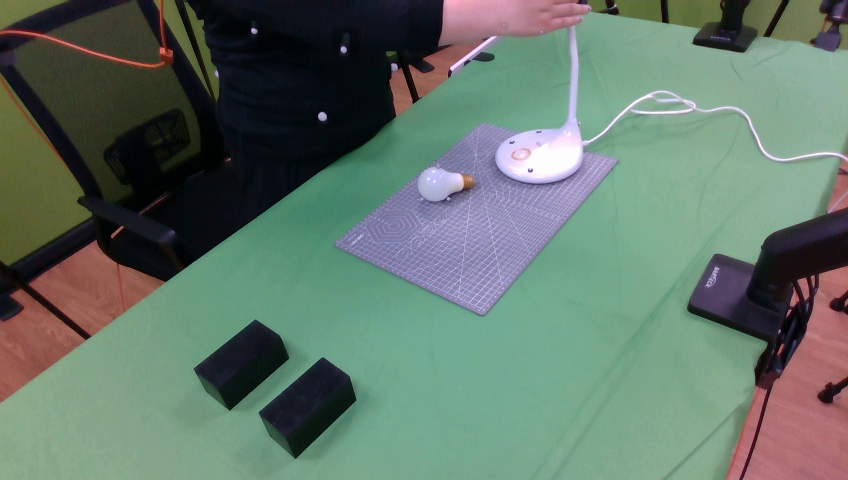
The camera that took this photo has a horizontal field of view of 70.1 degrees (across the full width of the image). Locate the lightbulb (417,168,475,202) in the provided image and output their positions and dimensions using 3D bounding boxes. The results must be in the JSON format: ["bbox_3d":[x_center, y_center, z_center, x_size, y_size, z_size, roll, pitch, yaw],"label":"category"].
[{"bbox_3d":[0.040,-0.098,1.055,0.108,0.059,0.059,-7,37,-25],"label":"lightbulb"}]

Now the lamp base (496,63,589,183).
[{"bbox_3d":[0.216,-0.217,1.067,0.180,0.181,0.159,-19,42,-18],"label":"lamp base"}]
